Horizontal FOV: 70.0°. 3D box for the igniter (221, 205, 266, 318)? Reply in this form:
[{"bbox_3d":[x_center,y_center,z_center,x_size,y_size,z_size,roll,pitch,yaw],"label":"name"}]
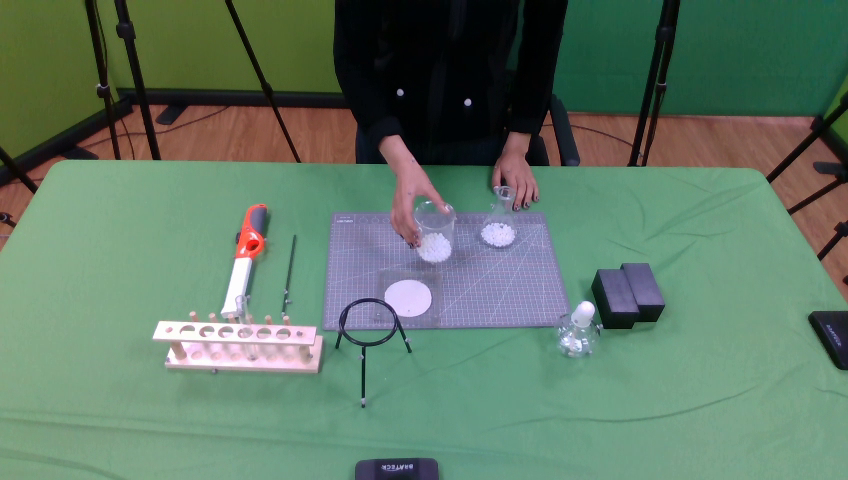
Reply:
[{"bbox_3d":[-0.338,0.030,1.140,0.057,0.025,0.274,-5,46,3],"label":"igniter"}]

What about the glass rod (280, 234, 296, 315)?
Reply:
[{"bbox_3d":[-0.253,0.060,1.131,0.008,0.008,0.198,0,46,-3],"label":"glass rod"}]

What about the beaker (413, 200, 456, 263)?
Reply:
[{"bbox_3d":[0.016,-0.014,1.110,0.074,0.101,0.083,-26,51,-23],"label":"beaker"}]

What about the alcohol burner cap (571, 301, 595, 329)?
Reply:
[{"bbox_3d":[0.262,0.120,0.991,0.034,0.048,0.033,2,52,-2],"label":"alcohol burner cap"}]

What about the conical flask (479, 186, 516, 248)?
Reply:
[{"bbox_3d":[0.150,-0.049,1.186,0.075,0.122,0.075,2,46,-2],"label":"conical flask"}]

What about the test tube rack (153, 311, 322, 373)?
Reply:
[{"bbox_3d":[-0.293,0.160,0.978,0.242,0.085,0.066,3,46,-2],"label":"test tube rack"}]

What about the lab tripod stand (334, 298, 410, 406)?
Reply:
[{"bbox_3d":[-0.085,0.164,0.957,0.148,0.132,0.147,3,44,-2],"label":"lab tripod stand"}]

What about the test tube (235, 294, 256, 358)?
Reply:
[{"bbox_3d":[-0.274,0.136,0.933,0.017,0.151,0.017,4,46,-4],"label":"test tube"}]

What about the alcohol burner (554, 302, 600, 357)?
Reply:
[{"bbox_3d":[0.260,0.143,1.018,0.078,0.119,0.077,3,45,-3],"label":"alcohol burner"}]

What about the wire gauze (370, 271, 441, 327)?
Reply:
[{"bbox_3d":[-0.032,0.103,1.104,0.125,0.011,0.121,4,46,3],"label":"wire gauze"}]
